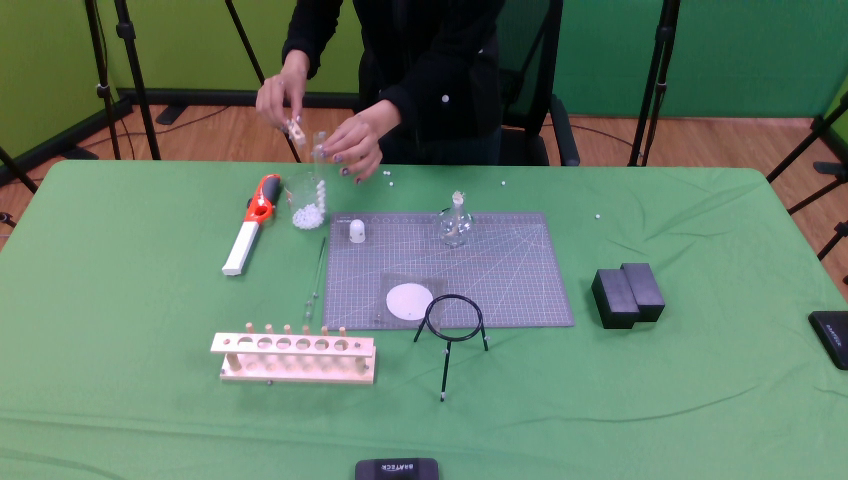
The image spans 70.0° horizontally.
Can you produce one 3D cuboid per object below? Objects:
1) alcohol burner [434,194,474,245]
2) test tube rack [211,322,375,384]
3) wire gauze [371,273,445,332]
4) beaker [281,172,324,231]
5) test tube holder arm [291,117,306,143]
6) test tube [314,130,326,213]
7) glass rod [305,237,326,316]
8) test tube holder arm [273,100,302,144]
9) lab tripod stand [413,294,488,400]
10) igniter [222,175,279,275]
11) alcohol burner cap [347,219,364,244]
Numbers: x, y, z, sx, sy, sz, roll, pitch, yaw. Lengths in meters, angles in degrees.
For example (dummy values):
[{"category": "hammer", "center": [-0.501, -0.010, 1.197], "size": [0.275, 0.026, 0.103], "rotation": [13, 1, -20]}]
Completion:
[{"category": "alcohol burner", "center": [0.061, -0.046, 1.183], "size": [0.078, 0.119, 0.077], "rotation": [3, 47, -3]}, {"category": "test tube rack", "center": [-0.203, 0.176, 0.969], "size": [0.242, 0.085, 0.066], "rotation": [3, 46, -2]}, {"category": "wire gauze", "center": [-0.028, 0.108, 1.100], "size": [0.125, 0.011, 0.121], "rotation": [8, 45, 4]}, {"category": "beaker", "center": [-0.234, -0.073, 1.199], "size": [0.084, 0.101, 0.074], "rotation": [24, 49, 17]}, {"category": "test tube holder arm", "center": [-0.225, -0.194, 1.067], "size": [0.010, 0.015, 0.087], "rotation": [-16, 39, -20]}, {"category": "test tube", "center": [-0.167, -0.106, 0.971], "size": [0.017, 0.151, 0.017], "rotation": [4, 38, -3]}, {"category": "glass rod", "center": [-0.202, 0.063, 1.131], "size": [0.008, 0.008, 0.198], "rotation": [4, 44, 0]}, {"category": "test tube holder arm", "center": [-0.249, -0.217, 1.098], "size": [0.013, 0.015, 0.177], "rotation": [-16, 39, -21]}, {"category": "lab tripod stand", "center": [0.045, 0.159, 0.972], "size": [0.148, 0.132, 0.147], "rotation": [2, 44, -2]}, {"category": "igniter", "center": [-0.341, -0.039, 1.207], "size": [0.057, 0.025, 0.275], "rotation": [-1, 45, 9]}, {"category": "alcohol burner cap", "center": [-0.135, -0.019, 1.190], "size": [0.034, 0.048, 0.033], "rotation": [2, 45, -2]}]
